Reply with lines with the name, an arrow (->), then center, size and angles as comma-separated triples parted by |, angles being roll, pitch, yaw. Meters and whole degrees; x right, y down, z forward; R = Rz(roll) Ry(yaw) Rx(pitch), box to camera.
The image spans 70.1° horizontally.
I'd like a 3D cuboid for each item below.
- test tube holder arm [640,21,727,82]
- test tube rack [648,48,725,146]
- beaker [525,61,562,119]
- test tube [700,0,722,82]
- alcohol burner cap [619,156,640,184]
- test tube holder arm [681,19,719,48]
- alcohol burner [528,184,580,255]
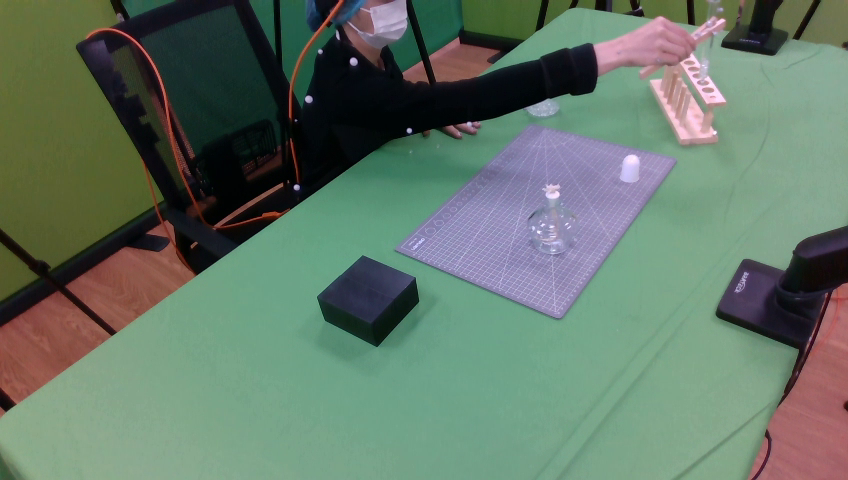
test tube holder arm -> 0.430, -0.313, 1.000 | 0.178, 0.015, 0.013 | -34, 46, -9
test tube rack -> 0.508, -0.285, 1.186 | 0.067, 0.085, 0.241 | -4, 40, 6
beaker -> 0.248, -0.308, 1.246 | 0.084, 0.101, 0.073 | -36, 47, -30
test tube -> 0.488, -0.336, 1.031 | 0.017, 0.151, 0.017 | -7, 46, 8
alcohol burner cap -> 0.358, -0.124, 1.047 | 0.034, 0.048, 0.033 | -4, 40, 4
test tube holder arm -> 0.463, -0.341, 1.012 | 0.088, 0.015, 0.010 | -39, 47, -14
alcohol burner -> 0.196, -0.036, 0.911 | 0.078, 0.119, 0.077 | -6, 41, 5
